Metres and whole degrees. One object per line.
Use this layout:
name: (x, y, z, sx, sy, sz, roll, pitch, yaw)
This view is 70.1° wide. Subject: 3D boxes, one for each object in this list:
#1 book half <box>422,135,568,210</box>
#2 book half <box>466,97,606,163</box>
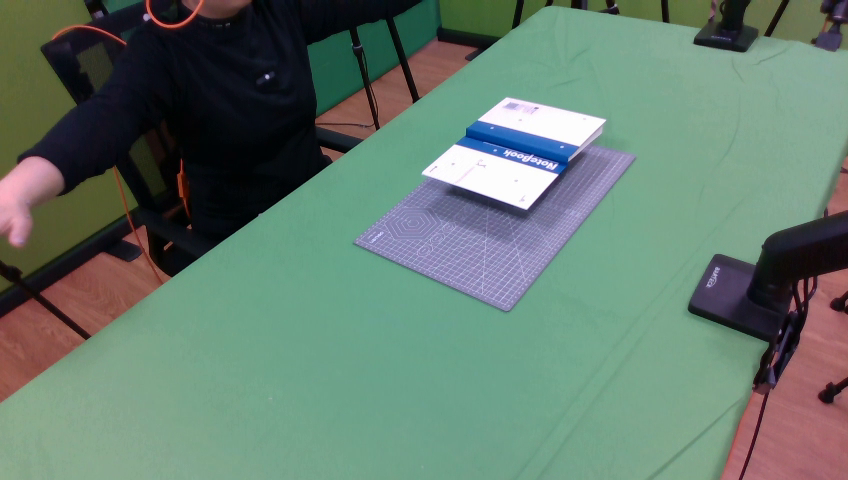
book half: (0.119, -0.121, 1.027, 0.208, 0.007, 0.143, 22, 49, 30)
book half: (0.204, -0.207, 1.105, 0.208, 0.016, 0.149, 22, 47, 31)
